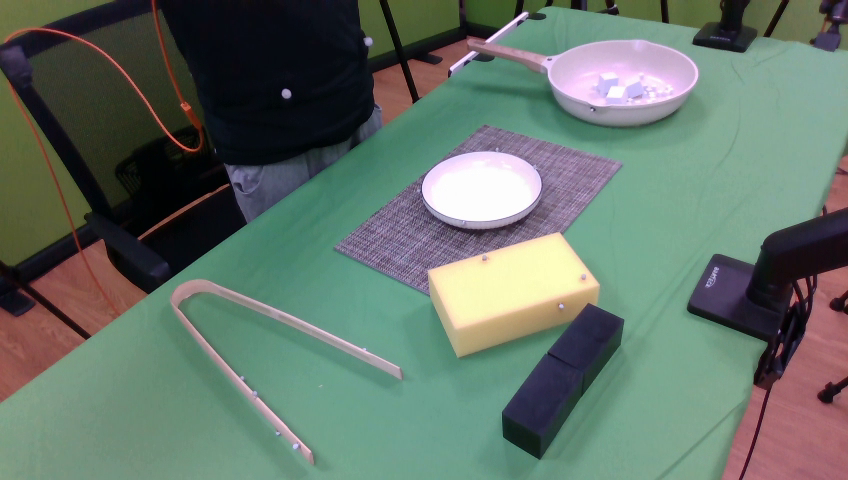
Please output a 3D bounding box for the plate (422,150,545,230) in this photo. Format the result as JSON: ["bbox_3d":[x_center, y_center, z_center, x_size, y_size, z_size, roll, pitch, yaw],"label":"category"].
[{"bbox_3d":[0.101,-0.082,1.031,0.207,0.039,0.206,-4,40,4],"label":"plate"}]

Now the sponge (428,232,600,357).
[{"bbox_3d":[0.120,0.071,0.834,0.207,0.061,0.117,-15,43,-12],"label":"sponge"}]

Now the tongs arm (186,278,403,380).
[{"bbox_3d":[-0.193,0.119,0.853,0.385,0.028,0.028,18,49,27],"label":"tongs arm"}]

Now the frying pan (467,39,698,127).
[{"bbox_3d":[0.312,-0.359,1.277,0.485,0.103,0.307,23,48,19],"label":"frying pan"}]

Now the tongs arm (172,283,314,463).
[{"bbox_3d":[-0.246,0.161,0.806,0.381,0.026,0.051,29,51,36],"label":"tongs arm"}]
